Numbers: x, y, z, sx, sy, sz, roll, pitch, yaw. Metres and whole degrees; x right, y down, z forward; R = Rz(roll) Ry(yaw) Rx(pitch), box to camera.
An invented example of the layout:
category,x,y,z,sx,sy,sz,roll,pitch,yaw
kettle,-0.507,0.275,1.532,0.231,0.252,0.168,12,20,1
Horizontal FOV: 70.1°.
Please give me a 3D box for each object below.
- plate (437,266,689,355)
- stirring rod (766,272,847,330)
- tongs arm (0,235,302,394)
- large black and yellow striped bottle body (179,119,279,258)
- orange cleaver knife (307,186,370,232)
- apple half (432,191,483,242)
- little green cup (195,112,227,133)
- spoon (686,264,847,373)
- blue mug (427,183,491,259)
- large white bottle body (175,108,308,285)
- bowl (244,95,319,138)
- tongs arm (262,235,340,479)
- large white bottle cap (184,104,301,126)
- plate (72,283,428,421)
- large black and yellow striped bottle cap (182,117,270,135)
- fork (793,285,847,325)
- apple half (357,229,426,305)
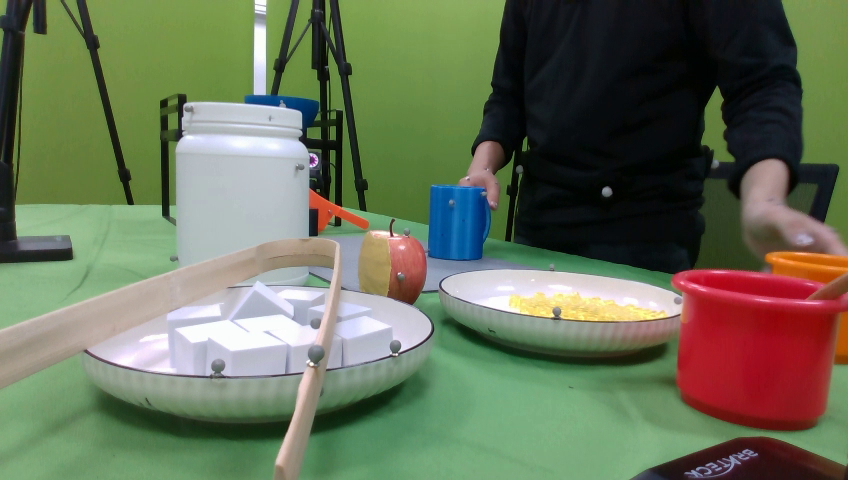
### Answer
category,x,y,z,sx,sy,sz,roll,pitch,yaw
plate,0.114,0.057,0.518,0.209,0.038,0.209,3,7,0
stirring rod,0.352,0.020,0.481,0.176,0.006,0.014,-40,-9,17
tongs arm,-0.157,0.038,0.351,0.028,0.028,0.388,-3,8,12
large black and yellow striped bottle body,-0.271,-0.074,0.846,0.131,0.184,0.130,0,9,0
orange cleaver knife,-0.197,-0.056,1.140,0.212,0.077,0.012,29,0,-34
apple half,0.049,-0.037,0.904,0.081,0.081,0.033,3,14,3
little green cup,-0.412,-0.227,1.171,0.061,0.038,0.061,3,8,0
spoon,0.214,0.032,0.328,0.042,0.021,0.193,-3,-35,-26
blue mug,0.060,-0.031,0.905,0.117,0.106,0.082,-4,10,-42
large white bottle body,-0.188,-0.042,0.630,0.131,0.184,0.130,2,8,0
bowl,-0.293,-0.251,1.249,0.151,0.077,0.151,2,7,0
tongs arm,-0.074,0.039,0.349,0.051,0.026,0.384,-2,10,-3
large white bottle cap,-0.184,-0.126,0.618,0.115,0.018,0.115,2,8,0
plate,-0.102,0.067,0.381,0.208,0.039,0.207,2,7,0
large black and yellow striped bottle cap,-0.272,-0.156,0.833,0.115,0.019,0.115,1,7,0
fork,0.332,0.019,0.443,0.028,0.018,0.207,-3,-35,-16
apple half,-0.026,0.028,0.570,0.053,0.074,0.080,3,2,-28
